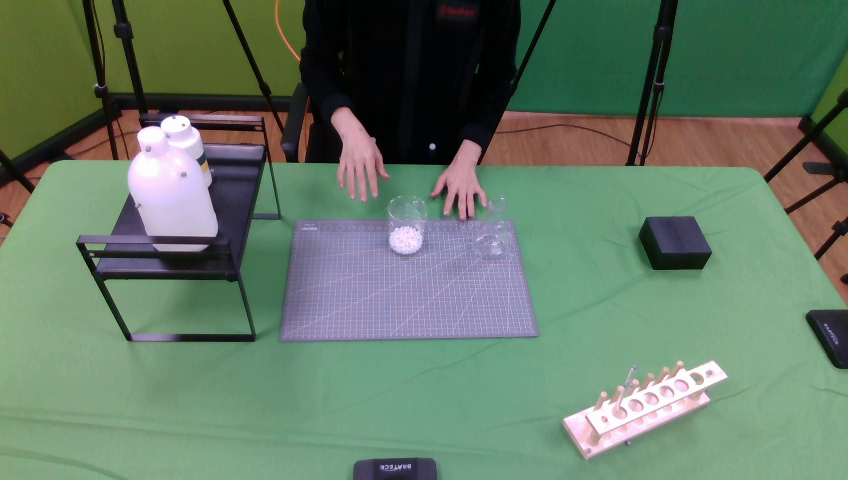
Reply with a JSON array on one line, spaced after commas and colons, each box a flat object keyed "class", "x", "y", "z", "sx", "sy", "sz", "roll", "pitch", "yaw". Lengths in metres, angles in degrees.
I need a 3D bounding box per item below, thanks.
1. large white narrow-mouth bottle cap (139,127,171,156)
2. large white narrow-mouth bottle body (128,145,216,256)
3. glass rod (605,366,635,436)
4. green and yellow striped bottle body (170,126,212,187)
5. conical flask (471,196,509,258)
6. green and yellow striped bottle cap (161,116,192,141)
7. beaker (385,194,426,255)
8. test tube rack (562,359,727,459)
[{"class": "large white narrow-mouth bottle cap", "x": -0.358, "y": -0.132, "z": 0.807, "sx": 0.038, "sy": 0.024, "sz": 0.037, "roll": 3, "pitch": 47, "yaw": -3}, {"class": "large white narrow-mouth bottle body", "x": -0.366, "y": -0.073, "z": 0.872, "sx": 0.102, "sy": 0.195, "sz": 0.101, "roll": 3, "pitch": 47, "yaw": -3}, {"class": "glass rod", "x": 0.276, "y": 0.233, "z": 0.857, "sx": 0.008, "sy": 0.201, "sz": 0.008, "roll": -2, "pitch": 47, "yaw": 2}, {"class": "green and yellow striped bottle body", "x": -0.389, "y": -0.139, "z": 0.984, "sx": 0.063, "sy": 0.120, "sz": 0.063, "roll": 2, "pitch": 46, "yaw": -2}, {"class": "conical flask", "x": 0.133, "y": -0.028, "z": 1.160, "sx": 0.075, "sy": 0.122, "sz": 0.075, "roll": 2, "pitch": 46, "yaw": -2}, {"class": "green and yellow striped bottle cap", "x": -0.387, "y": -0.174, "z": 0.946, "sx": 0.045, "sy": 0.020, "sz": 0.045, "roll": 3, "pitch": 44, "yaw": -3}, {"class": "beaker", "x": -0.033, "y": -0.026, "z": 1.162, "sx": 0.083, "sy": 0.101, "sz": 0.074, "roll": 29, "pitch": 51, "yaw": 21}, {"class": "test tube rack", "x": 0.341, "y": 0.247, "z": 0.940, "sx": 0.243, "sy": 0.085, "sz": 0.066, "roll": -16, "pitch": 49, "yaw": -19}]
